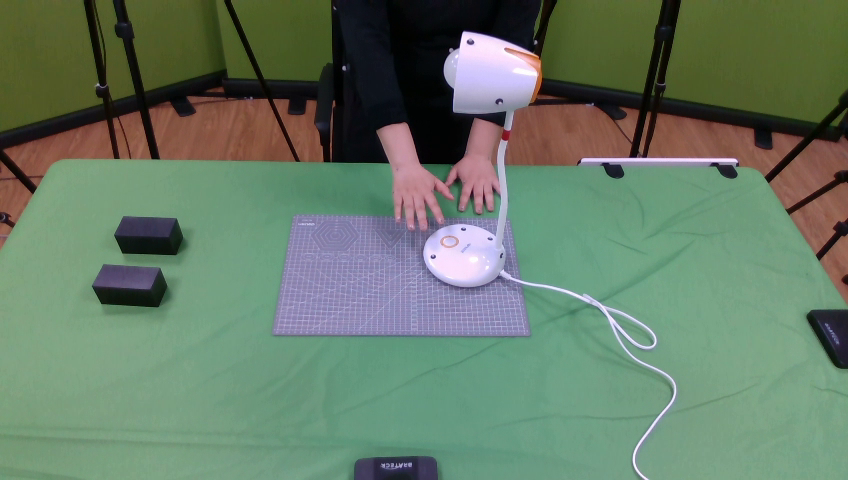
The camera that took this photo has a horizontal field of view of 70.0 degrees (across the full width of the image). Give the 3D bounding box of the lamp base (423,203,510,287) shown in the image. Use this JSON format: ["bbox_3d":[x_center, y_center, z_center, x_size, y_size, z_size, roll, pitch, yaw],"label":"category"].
[{"bbox_3d":[0.092,-0.021,1.111,0.179,0.181,0.160,23,49,14],"label":"lamp base"}]

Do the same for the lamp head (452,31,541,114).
[{"bbox_3d":[0.102,-0.228,0.858,0.123,0.113,0.112,11,46,0],"label":"lamp head"}]
